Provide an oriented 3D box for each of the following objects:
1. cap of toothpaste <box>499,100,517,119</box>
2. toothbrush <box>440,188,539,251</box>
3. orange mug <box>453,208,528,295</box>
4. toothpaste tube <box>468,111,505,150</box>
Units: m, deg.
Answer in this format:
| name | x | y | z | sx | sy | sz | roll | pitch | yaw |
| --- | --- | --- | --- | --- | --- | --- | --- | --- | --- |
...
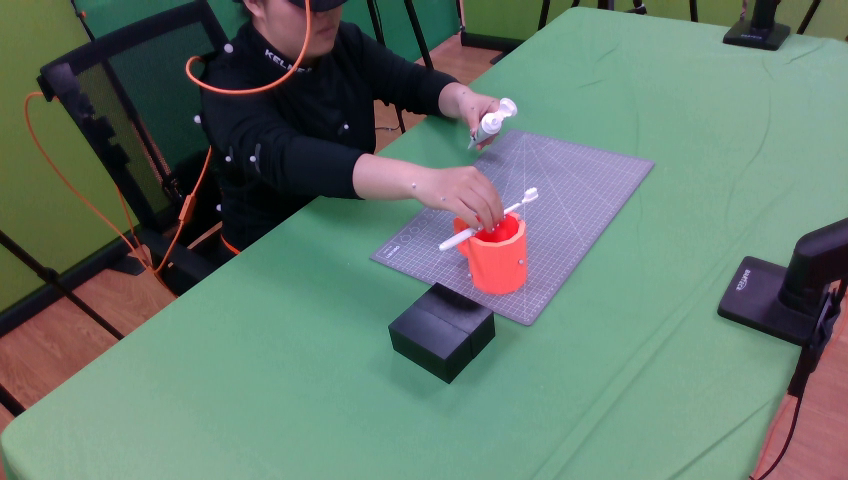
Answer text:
| name | x | y | z | sx | sy | sz | roll | pitch | yaw |
| --- | --- | --- | --- | --- | --- | --- | --- | --- | --- |
| cap of toothpaste | 0.137 | -0.212 | 0.991 | 0.011 | 0.037 | 0.037 | -37 | 47 | -21 |
| toothbrush | 0.096 | -0.031 | 0.859 | 0.182 | 0.017 | 0.014 | -29 | 50 | -23 |
| orange mug | 0.095 | 0.009 | 0.894 | 0.125 | 0.101 | 0.084 | 32 | 55 | 33 |
| toothpaste tube | 0.108 | -0.199 | 1.075 | 0.034 | 0.164 | 0.055 | 32 | 84 | -7 |
